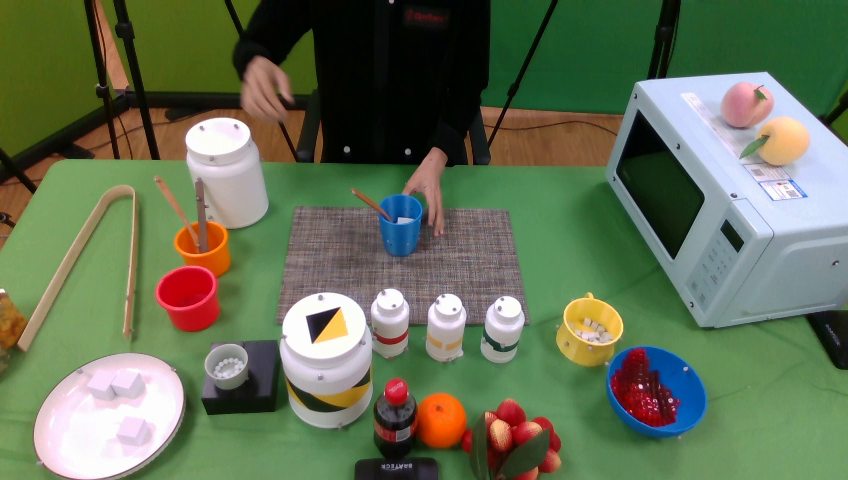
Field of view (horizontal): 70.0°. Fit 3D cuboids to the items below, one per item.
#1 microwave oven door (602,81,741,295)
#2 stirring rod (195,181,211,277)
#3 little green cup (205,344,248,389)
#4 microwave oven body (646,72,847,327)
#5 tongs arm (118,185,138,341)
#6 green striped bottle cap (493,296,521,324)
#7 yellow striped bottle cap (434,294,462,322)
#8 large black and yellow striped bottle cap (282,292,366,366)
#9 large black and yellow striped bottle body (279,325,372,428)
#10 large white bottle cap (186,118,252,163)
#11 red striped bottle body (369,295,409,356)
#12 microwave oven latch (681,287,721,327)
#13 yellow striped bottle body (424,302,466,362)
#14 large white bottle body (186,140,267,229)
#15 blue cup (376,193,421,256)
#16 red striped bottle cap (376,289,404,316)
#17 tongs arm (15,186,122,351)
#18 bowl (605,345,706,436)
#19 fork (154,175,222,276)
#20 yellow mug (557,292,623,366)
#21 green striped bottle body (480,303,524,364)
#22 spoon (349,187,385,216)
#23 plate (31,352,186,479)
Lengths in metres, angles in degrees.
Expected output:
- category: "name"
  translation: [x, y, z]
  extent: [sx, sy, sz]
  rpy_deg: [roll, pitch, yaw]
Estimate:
- category: "microwave oven door"
  translation: [0.456, -0.107, 1.162]
  extent: [0.039, 0.245, 0.353]
  rpy_deg: [-7, 47, -11]
- category: "stirring rod"
  translation: [-0.403, -0.020, 1.104]
  extent: [0.014, 0.006, 0.176]
  rpy_deg: [-6, 89, -9]
- category: "little green cup"
  translation: [-0.294, 0.191, 0.909]
  extent: [0.061, 0.039, 0.061]
  rpy_deg: [1, 47, -1]
- category: "microwave oven body"
  translation: [0.607, -0.089, 1.164]
  extent: [0.326, 0.261, 0.438]
  rpy_deg: [-7, 46, -10]
- category: "tongs arm"
  translation: [-0.555, 0.028, 1.116]
  extent: [0.051, 0.026, 0.382]
  rpy_deg: [-10, 47, -9]
- category: "green striped bottle cap"
  translation: [0.133, 0.111, 0.962]
  extent: [0.044, 0.020, 0.044]
  rpy_deg: [2, 47, -2]
- category: "yellow striped bottle cap"
  translation: [0.038, 0.107, 0.958]
  extent: [0.044, 0.019, 0.044]
  rpy_deg: [2, 45, -2]
- category: "large black and yellow striped bottle cap"
  translation: [-0.138, 0.121, 0.841]
  extent: [0.115, 0.019, 0.114]
  rpy_deg: [3, 47, -3]
- category: "large black and yellow striped bottle body"
  translation: [-0.143, 0.181, 0.900]
  extent: [0.131, 0.185, 0.130]
  rpy_deg: [2, 46, -2]
- category: "large white bottle cap"
  translation: [-0.377, -0.185, 1.115]
  extent: [0.115, 0.018, 0.114]
  rpy_deg: [2, 47, -2]
- category: "red striped bottle body"
  translation: [-0.059, 0.134, 0.997]
  extent: [0.063, 0.120, 0.062]
  rpy_deg: [5, 48, -5]
- category: "microwave oven latch"
  translation: [0.494, 0.119, 1.087]
  extent: [0.030, 0.029, 0.078]
  rpy_deg: [-5, 46, -9]
- category: "yellow striped bottle body"
  translation: [0.035, 0.143, 0.995]
  extent: [0.063, 0.121, 0.062]
  rpy_deg: [3, 46, -3]
- category: "large white bottle body"
  translation: [-0.382, -0.127, 1.176]
  extent: [0.131, 0.185, 0.130]
  rpy_deg: [2, 46, -2]
- category: "blue cup"
  translation: [-0.048, -0.024, 1.156]
  extent: [0.092, 0.101, 0.092]
  rpy_deg: [1, 48, -1]
- category: "red striped bottle cap"
  translation: [-0.054, 0.098, 0.958]
  extent: [0.044, 0.018, 0.044]
  rpy_deg: [0, 48, 0]
- category: "tongs arm"
  translation: [-0.642, 0.035, 1.106]
  extent: [0.028, 0.028, 0.385]
  rpy_deg: [-2, 46, 4]
- category: "bowl"
  translation: [0.351, 0.248, 0.950]
  extent: [0.151, 0.077, 0.150]
  rpy_deg: [2, 46, -2]
- category: "fork"
  translation: [-0.431, -0.027, 1.101]
  extent: [0.028, 0.018, 0.207]
  rpy_deg: [-33, 100, -25]
- category: "yellow mug"
  translation: [0.285, 0.145, 1.051]
  extent: [0.100, 0.064, 0.130]
  rpy_deg: [7, 46, 4]
- category: "green striped bottle body"
  translation: [0.129, 0.147, 1.000]
  extent: [0.063, 0.120, 0.063]
  rpy_deg: [2, 46, -2]
- category: "spoon"
  translation: [-0.080, -0.045, 1.122]
  extent: [0.021, 0.195, 0.041]
  rpy_deg: [-24, 50, 15]
- category: "plate"
  translation: [-0.459, 0.262, 0.898]
  extent: [0.209, 0.038, 0.208]
  rpy_deg: [2, 46, -2]
